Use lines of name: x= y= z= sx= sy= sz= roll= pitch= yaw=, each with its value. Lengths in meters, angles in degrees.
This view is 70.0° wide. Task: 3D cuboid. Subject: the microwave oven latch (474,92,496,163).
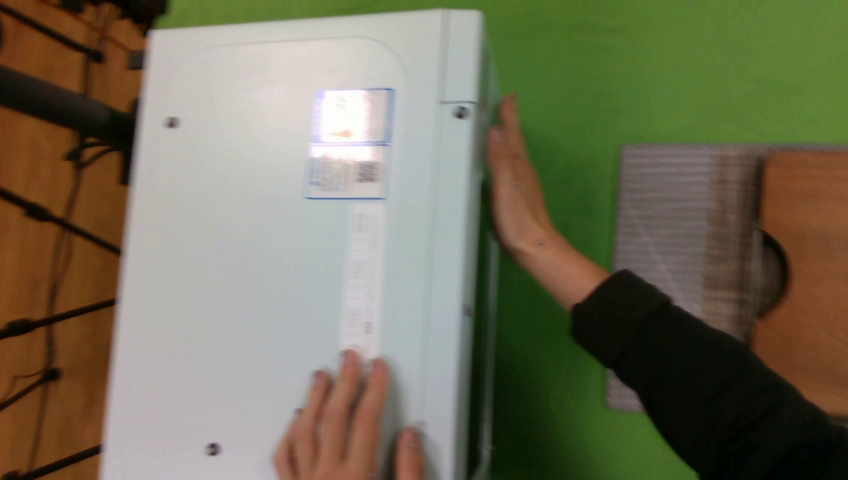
microwave oven latch: x=0.068 y=-0.128 z=0.689 sx=0.030 sy=0.029 sz=0.079 roll=-1 pitch=85 yaw=12

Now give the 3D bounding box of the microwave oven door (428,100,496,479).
microwave oven door: x=0.039 y=0.077 z=0.571 sx=0.039 sy=0.245 sz=0.355 roll=0 pitch=84 yaw=13

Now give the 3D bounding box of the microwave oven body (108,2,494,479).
microwave oven body: x=-0.102 y=0.037 z=0.610 sx=0.325 sy=0.261 sz=0.440 roll=0 pitch=85 yaw=12
